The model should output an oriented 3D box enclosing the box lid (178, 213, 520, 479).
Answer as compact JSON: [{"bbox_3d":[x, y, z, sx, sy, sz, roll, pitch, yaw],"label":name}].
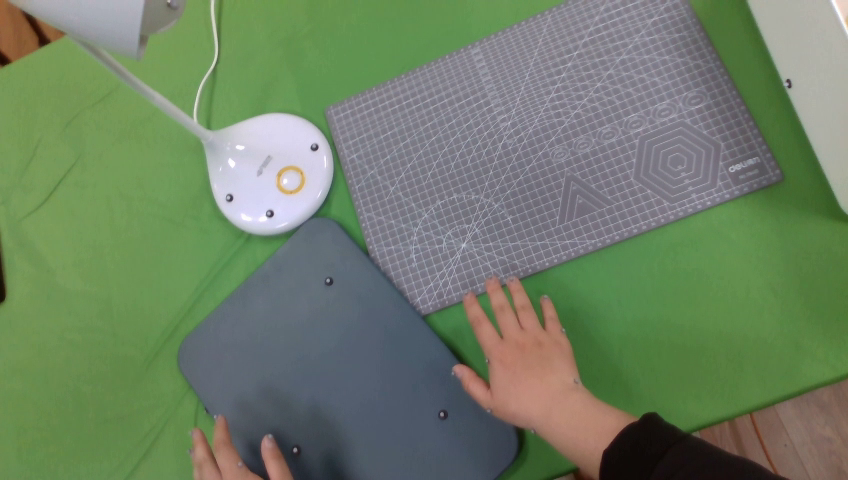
[{"bbox_3d":[-0.101,0.168,0.691,0.263,0.015,0.369,-44,72,1],"label":"box lid"}]

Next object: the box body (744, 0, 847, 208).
[{"bbox_3d":[0.474,-0.230,0.565,0.254,0.161,0.361,-17,74,9],"label":"box body"}]

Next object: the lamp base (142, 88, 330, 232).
[{"bbox_3d":[-0.224,-0.109,0.695,0.178,0.181,0.160,17,81,19],"label":"lamp base"}]

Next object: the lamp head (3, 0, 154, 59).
[{"bbox_3d":[-0.244,-0.192,0.408,0.123,0.112,0.112,10,78,-19],"label":"lamp head"}]

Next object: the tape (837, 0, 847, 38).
[{"bbox_3d":[0.488,-0.229,0.613,0.116,0.053,0.116,-3,77,12],"label":"tape"}]
